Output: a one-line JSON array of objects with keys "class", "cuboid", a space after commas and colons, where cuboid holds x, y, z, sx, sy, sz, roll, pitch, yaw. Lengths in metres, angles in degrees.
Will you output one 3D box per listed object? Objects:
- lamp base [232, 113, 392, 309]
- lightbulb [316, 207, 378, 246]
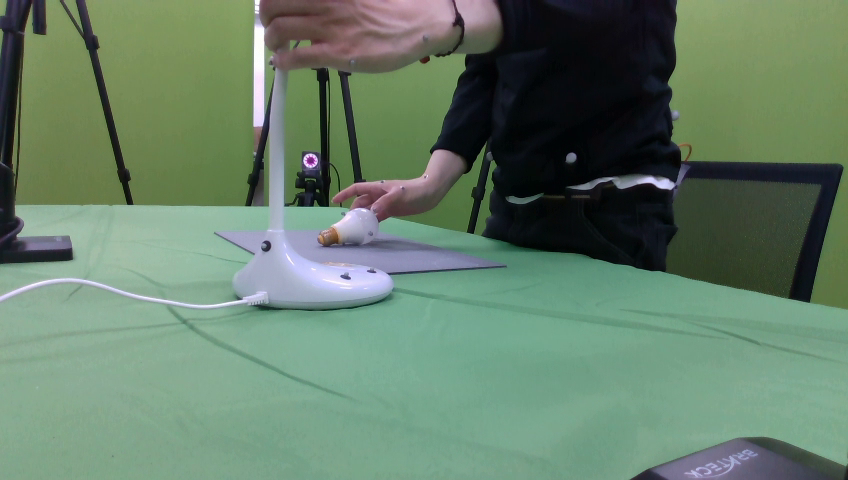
[{"class": "lamp base", "cuboid": [-0.113, -0.032, 0.594, 0.160, 0.180, 0.179, 4, 10, 18]}, {"class": "lightbulb", "cuboid": [-0.123, -0.016, 0.967, 0.108, 0.059, 0.059, -22, 20, -33]}]
